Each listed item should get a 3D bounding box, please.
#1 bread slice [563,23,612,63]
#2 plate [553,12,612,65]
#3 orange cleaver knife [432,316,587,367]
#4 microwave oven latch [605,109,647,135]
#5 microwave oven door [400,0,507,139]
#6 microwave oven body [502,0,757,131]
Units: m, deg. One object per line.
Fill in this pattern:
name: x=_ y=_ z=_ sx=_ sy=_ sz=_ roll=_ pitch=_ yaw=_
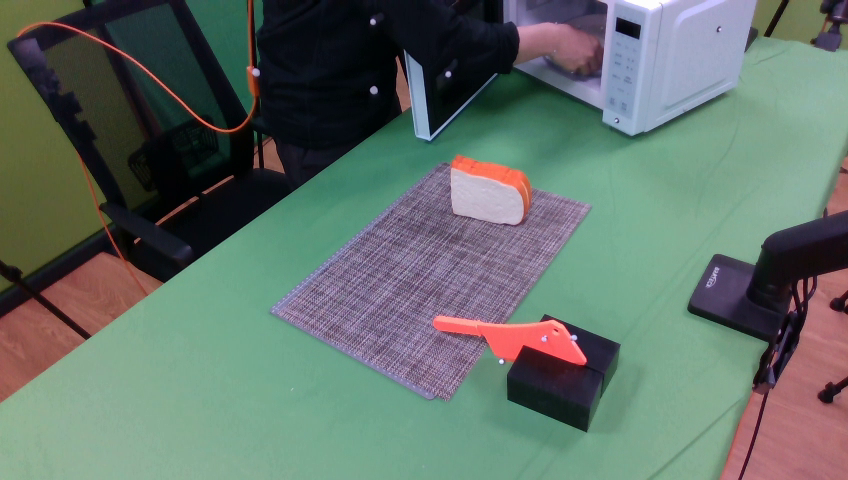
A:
bread slice: x=0.360 y=-0.431 z=1.321 sx=0.107 sy=0.018 sz=0.134 roll=3 pitch=52 yaw=12
plate: x=0.384 y=-0.430 z=1.306 sx=0.207 sy=0.039 sz=0.206 roll=-5 pitch=43 yaw=5
orange cleaver knife: x=0.101 y=0.127 z=0.761 sx=0.210 sy=0.077 sz=0.012 roll=-1 pitch=34 yaw=40
microwave oven latch: x=0.379 y=-0.225 z=1.139 sx=0.030 sy=0.029 sz=0.078 roll=-26 pitch=43 yaw=-19
microwave oven door: x=0.073 y=-0.398 z=1.226 sx=0.039 sy=0.245 sz=0.356 roll=17 pitch=46 yaw=26
microwave oven body: x=0.396 y=-0.448 z=1.248 sx=0.327 sy=0.261 sz=0.437 roll=-27 pitch=44 yaw=-21
